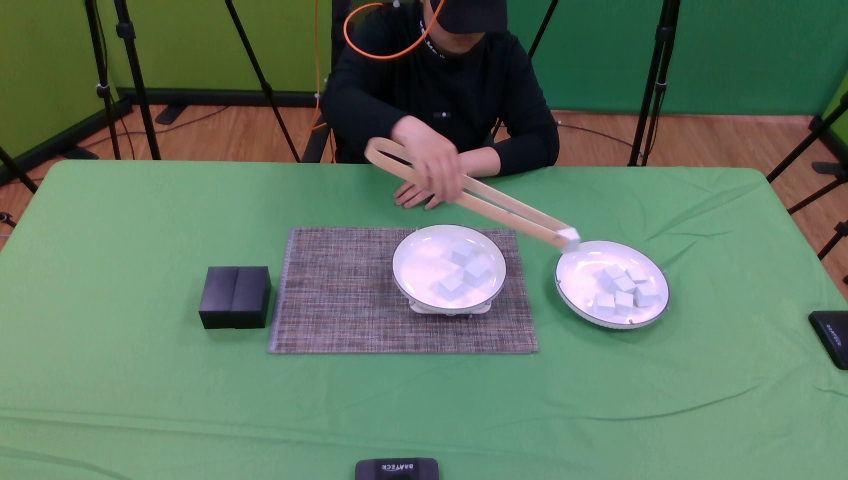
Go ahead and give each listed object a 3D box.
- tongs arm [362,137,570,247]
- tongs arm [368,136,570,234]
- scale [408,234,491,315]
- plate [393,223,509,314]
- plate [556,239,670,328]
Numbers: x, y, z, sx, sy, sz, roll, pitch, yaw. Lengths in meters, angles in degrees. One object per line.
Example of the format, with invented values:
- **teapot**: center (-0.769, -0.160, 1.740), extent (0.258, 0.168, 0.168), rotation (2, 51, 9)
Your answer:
- **tongs arm**: center (0.072, -0.081, 1.045), extent (0.385, 0.026, 0.050), rotation (22, 37, -5)
- **tongs arm**: center (0.078, -0.095, 1.066), extent (0.388, 0.028, 0.028), rotation (24, 40, -2)
- **scale**: center (0.045, 0.055, 1.135), extent (0.149, 0.032, 0.199), rotation (1, 46, -3)
- **plate**: center (0.048, 0.053, 1.091), extent (0.208, 0.039, 0.206), rotation (1, 46, -1)
- **plate**: center (0.347, 0.083, 1.130), extent (0.209, 0.038, 0.208), rotation (2, 47, -2)
